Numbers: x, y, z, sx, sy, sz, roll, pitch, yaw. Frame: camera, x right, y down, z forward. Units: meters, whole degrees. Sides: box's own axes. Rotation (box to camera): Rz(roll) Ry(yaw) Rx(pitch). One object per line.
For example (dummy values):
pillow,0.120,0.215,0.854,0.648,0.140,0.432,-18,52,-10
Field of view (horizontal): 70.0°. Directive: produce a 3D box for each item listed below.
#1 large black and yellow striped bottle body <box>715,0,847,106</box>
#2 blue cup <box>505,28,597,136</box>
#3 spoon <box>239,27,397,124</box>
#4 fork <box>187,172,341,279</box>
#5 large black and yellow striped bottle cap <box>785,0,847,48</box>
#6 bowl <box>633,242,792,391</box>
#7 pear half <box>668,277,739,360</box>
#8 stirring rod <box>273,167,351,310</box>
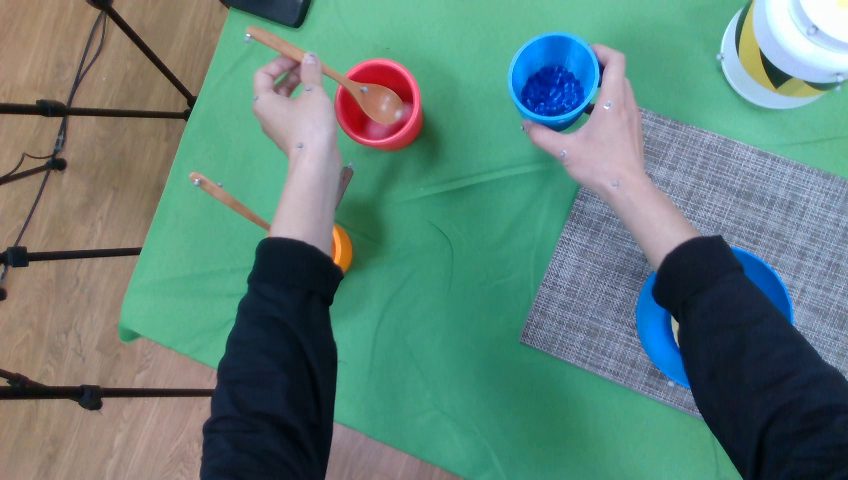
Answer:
large black and yellow striped bottle body,0.378,-0.217,0.590,0.130,0.184,0.130,0,88,9
blue cup,0.127,-0.148,0.618,0.092,0.100,0.092,-1,86,9
spoon,-0.103,-0.172,0.631,0.021,0.195,0.041,21,90,45
fork,-0.175,-0.014,0.684,0.028,0.018,0.209,-42,127,14
large black and yellow striped bottle cap,0.365,-0.220,0.507,0.115,0.019,0.115,0,89,10
bowl,0.294,0.078,0.643,0.151,0.077,0.151,0,88,9
pear half,0.297,0.082,0.636,0.070,0.031,0.088,2,84,3
stirring rod,-0.125,-0.002,0.674,0.014,0.006,0.176,27,92,6
